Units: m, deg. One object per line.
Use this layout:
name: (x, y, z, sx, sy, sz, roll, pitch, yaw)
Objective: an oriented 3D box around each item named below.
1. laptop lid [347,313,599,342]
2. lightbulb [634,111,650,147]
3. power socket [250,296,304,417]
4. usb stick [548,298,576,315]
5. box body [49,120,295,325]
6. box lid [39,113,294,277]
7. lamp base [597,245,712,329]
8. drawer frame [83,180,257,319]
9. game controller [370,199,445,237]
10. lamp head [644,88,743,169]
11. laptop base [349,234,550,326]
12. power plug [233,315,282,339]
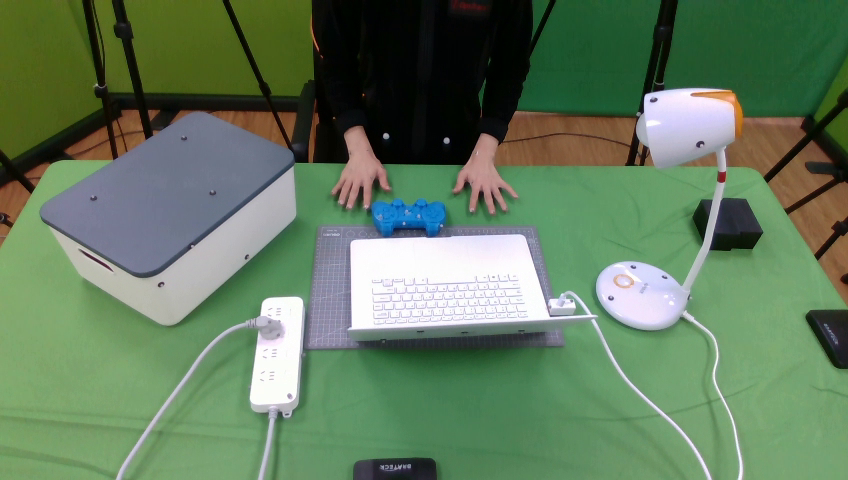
laptop lid: (0.062, 0.137, 0.932, 0.357, 0.242, 0.013, -2, 77, -8)
lightbulb: (0.348, -0.163, 0.852, 0.059, 0.060, 0.107, -36, 19, -32)
power socket: (-0.239, 0.182, 0.996, 0.072, 0.033, 0.225, -2, 47, -5)
usb stick: (0.240, 0.119, 1.086, 0.059, 0.027, 0.021, -2, 52, -2)
box body: (-0.437, -0.046, 1.110, 0.253, 0.161, 0.363, 24, 49, 18)
box lid: (-0.435, -0.096, 1.056, 0.262, 0.015, 0.370, 25, 48, 18)
lamp base: (0.418, 0.051, 1.071, 0.179, 0.181, 0.160, 22, 49, 13)
drawer frame: (-0.454, 0.010, 1.099, 0.201, 0.083, 0.213, 27, 54, 23)
game controller: (-0.032, -0.054, 1.229, 0.155, 0.052, 0.096, 0, 48, -4)
lamp head: (0.380, -0.161, 0.851, 0.122, 0.113, 0.112, -4, 42, 25)
laptop base: (0.040, 0.081, 1.125, 0.355, 0.023, 0.234, -2, 43, -6)
power plug: (-0.271, 0.144, 1.000, 0.072, 0.053, 0.035, 6, 46, 4)
